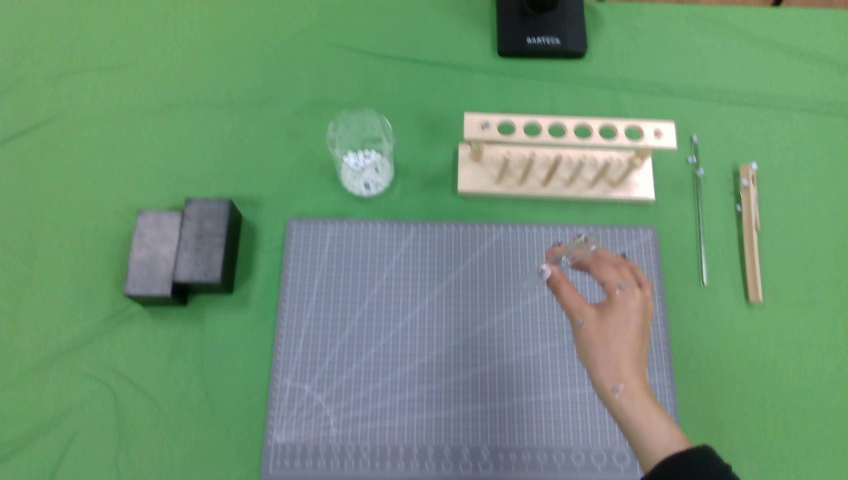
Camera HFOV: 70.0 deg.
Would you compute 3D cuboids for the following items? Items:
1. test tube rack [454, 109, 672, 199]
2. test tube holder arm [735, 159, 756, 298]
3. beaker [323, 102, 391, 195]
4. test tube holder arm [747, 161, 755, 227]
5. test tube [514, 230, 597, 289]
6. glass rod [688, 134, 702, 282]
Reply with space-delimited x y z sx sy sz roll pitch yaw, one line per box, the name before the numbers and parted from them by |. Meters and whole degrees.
test tube rack | 0.161 -0.101 0.726 0.242 0.085 0.066 2 71 -1
test tube holder arm | 0.392 -0.016 0.738 0.013 0.015 0.177 18 69 -28
beaker | -0.075 -0.099 0.709 0.074 0.101 0.083 4 71 0
test tube holder arm | 0.402 -0.057 0.755 0.010 0.015 0.087 18 69 -28
test tube | 0.115 0.022 0.555 0.017 0.150 0.017 4 71 -13
glass rod | 0.336 -0.043 0.753 0.008 0.008 0.198 6 71 0
